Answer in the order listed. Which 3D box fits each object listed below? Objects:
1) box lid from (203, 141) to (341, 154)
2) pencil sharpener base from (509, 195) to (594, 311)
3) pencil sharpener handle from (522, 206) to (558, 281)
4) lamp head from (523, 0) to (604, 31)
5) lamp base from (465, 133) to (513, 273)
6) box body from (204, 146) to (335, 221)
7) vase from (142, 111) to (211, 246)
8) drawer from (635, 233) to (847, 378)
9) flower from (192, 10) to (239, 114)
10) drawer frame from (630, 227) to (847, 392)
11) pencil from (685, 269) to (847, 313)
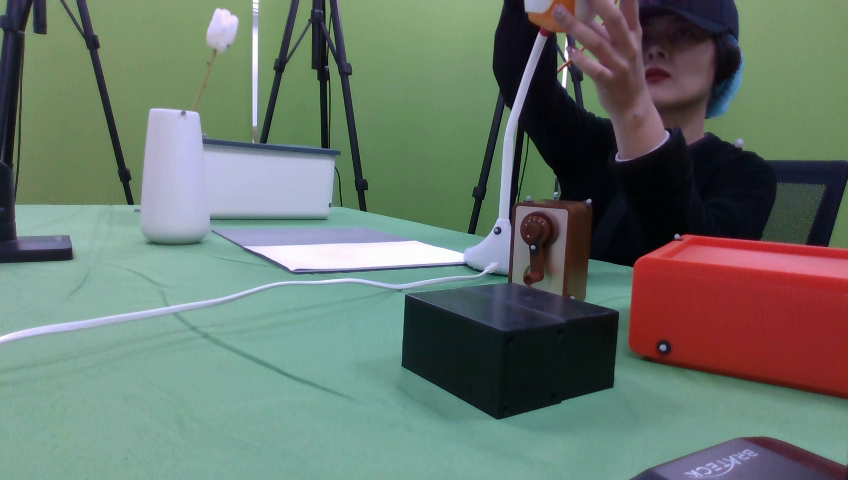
[{"bbox_3d":[-0.396,-0.212,1.373,0.373,0.015,0.262,-1,9,-29],"label":"box lid"},{"bbox_3d":[0.126,0.011,0.601,0.061,0.107,0.077,7,9,30],"label":"pencil sharpener base"},{"bbox_3d":[0.102,0.003,0.555,0.036,0.067,0.031,0,5,31],"label":"pencil sharpener handle"},{"bbox_3d":[0.150,-0.283,0.630,0.112,0.123,0.112,13,18,-4],"label":"lamp head"},{"bbox_3d":[0.133,-0.052,0.809,0.160,0.180,0.180,6,12,26],"label":"lamp base"},{"bbox_3d":[-0.411,-0.135,1.386,0.366,0.160,0.253,-2,9,-29],"label":"box body"},{"bbox_3d":[-0.378,-0.093,0.920,0.098,0.200,0.098,2,9,0],"label":"vase"},{"bbox_3d":[0.292,0.045,0.488,0.193,0.073,0.213,7,9,30],"label":"drawer"},{"bbox_3d":[-0.354,-0.174,0.915,0.038,0.361,0.044,18,-3,11],"label":"flower"},{"bbox_3d":[0.292,0.043,0.484,0.201,0.082,0.214,7,9,29],"label":"drawer frame"},{"bbox_3d":[0.308,0.045,0.516,0.194,0.012,0.012,13,5,-11],"label":"pencil"}]
